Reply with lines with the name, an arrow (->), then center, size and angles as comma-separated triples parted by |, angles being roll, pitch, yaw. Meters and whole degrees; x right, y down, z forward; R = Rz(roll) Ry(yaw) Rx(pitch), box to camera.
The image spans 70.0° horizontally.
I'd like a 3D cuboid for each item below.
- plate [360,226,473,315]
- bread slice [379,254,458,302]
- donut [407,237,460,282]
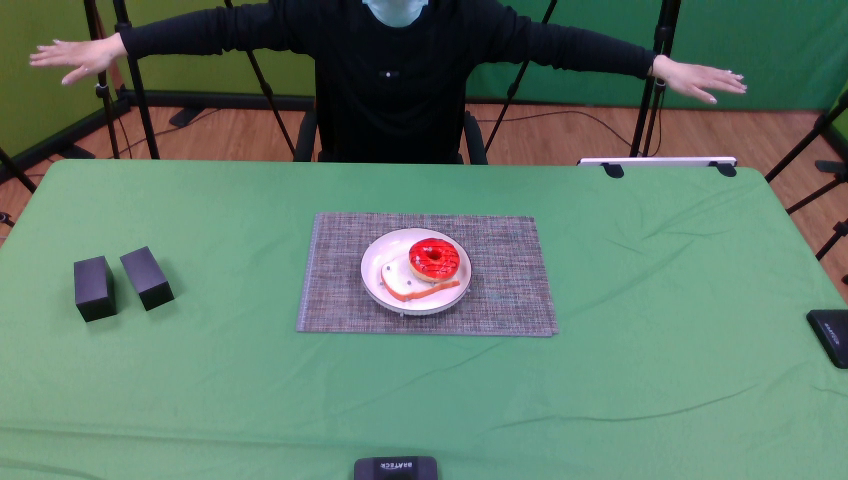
plate -> -0.013, 0.059, 1.124 | 0.208, 0.039, 0.206 | 2, 46, -2
bread slice -> -0.014, 0.064, 1.123 | 0.132, 0.019, 0.104 | -17, 50, -22
donut -> 0.017, 0.037, 1.109 | 0.099, 0.048, 0.098 | 5, 44, -4
